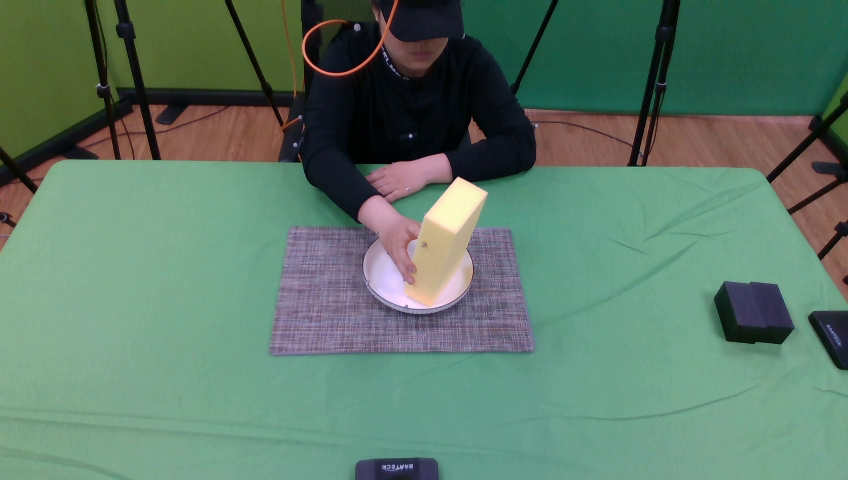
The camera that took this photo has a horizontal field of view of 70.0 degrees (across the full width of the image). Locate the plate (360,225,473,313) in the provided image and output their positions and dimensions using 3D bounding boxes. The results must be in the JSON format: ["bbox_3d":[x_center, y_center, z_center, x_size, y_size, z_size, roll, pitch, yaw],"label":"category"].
[{"bbox_3d":[-0.014,0.057,1.126,0.208,0.039,0.206,2,46,-2],"label":"plate"}]

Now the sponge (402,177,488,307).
[{"bbox_3d":[0.033,0.008,1.045,0.061,0.207,0.118,30,48,11],"label":"sponge"}]
